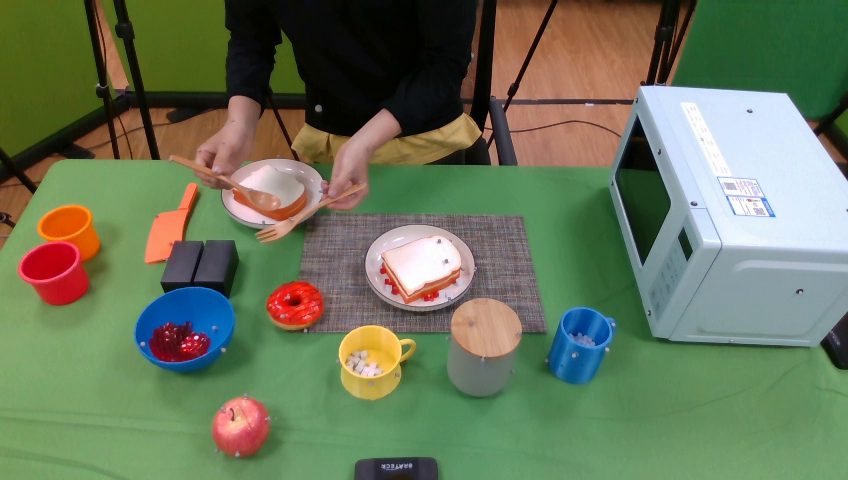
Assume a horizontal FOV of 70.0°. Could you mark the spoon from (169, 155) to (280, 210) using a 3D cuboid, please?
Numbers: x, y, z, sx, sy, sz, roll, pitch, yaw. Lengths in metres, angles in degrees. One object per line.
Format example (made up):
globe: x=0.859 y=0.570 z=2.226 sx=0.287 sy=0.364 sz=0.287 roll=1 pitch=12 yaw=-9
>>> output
spoon: x=-0.340 y=-0.101 z=1.040 sx=0.194 sy=0.021 sz=0.041 roll=29 pitch=48 yaw=-23

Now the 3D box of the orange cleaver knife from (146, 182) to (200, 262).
orange cleaver knife: x=-0.494 y=-0.039 z=1.199 sx=0.077 sy=0.012 sz=0.210 roll=-3 pitch=48 yaw=2

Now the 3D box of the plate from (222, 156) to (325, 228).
plate: x=-0.307 y=-0.095 z=1.251 sx=0.209 sy=0.038 sz=0.208 roll=2 pitch=46 yaw=-1

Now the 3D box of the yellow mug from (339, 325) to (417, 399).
yellow mug: x=-0.072 y=0.191 z=0.978 sx=0.131 sy=0.064 sz=0.099 roll=-17 pitch=49 yaw=-20

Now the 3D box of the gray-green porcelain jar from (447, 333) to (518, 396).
gray-green porcelain jar: x=0.091 y=0.178 z=0.960 sx=0.106 sy=0.127 sz=0.105 roll=2 pitch=46 yaw=-2

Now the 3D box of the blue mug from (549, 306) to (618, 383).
blue mug: x=0.269 y=0.167 z=0.997 sx=0.116 sy=0.106 sz=0.082 roll=-19 pitch=51 yaw=-21

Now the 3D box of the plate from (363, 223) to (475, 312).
plate: x=-0.009 y=0.054 z=1.127 sx=0.208 sy=0.039 sz=0.206 roll=2 pitch=46 yaw=-2

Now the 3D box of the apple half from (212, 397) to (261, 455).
apple half: x=-0.276 y=0.276 z=0.877 sx=0.053 sy=0.075 sz=0.080 roll=-29 pitch=58 yaw=-21

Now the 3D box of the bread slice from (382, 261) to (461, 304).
bread slice: x=0.000 y=0.055 z=1.129 sx=0.131 sy=0.019 sz=0.104 roll=-22 pitch=51 yaw=-21

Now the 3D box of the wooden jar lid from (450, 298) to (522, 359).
wooden jar lid: x=0.093 y=0.135 z=0.914 sx=0.108 sy=0.021 sz=0.107 roll=3 pitch=48 yaw=-3

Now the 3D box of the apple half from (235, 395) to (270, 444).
apple half: x=-0.245 y=0.260 z=0.893 sx=0.033 sy=0.082 sz=0.081 roll=-29 pitch=55 yaw=-22

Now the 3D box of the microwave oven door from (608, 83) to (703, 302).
microwave oven door: x=0.424 y=-0.096 z=1.138 sx=0.039 sy=0.245 sz=0.353 roll=2 pitch=47 yaw=-1

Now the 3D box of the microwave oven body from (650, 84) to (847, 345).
microwave oven body: x=0.569 y=-0.054 z=1.116 sx=0.326 sy=0.261 sz=0.439 roll=2 pitch=46 yaw=-1

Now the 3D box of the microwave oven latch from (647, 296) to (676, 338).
microwave oven latch: x=0.413 y=0.133 z=1.060 sx=0.030 sy=0.029 sz=0.078 roll=4 pitch=46 yaw=1

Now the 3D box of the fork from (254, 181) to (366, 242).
fork: x=-0.188 y=-0.051 z=1.018 sx=0.207 sy=0.019 sz=0.028 roll=-31 pitch=61 yaw=-13

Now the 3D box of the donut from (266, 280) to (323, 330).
donut: x=-0.223 y=0.112 z=1.051 sx=0.099 sy=0.048 sz=0.098 roll=2 pitch=45 yaw=-2

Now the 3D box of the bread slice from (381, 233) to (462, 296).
bread slice: x=0.001 y=0.038 z=1.107 sx=0.134 sy=0.018 sz=0.106 roll=-25 pitch=56 yaw=-23

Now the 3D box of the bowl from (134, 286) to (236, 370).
bowl: x=-0.377 y=0.155 z=0.981 sx=0.151 sy=0.077 sz=0.150 roll=2 pitch=46 yaw=-2
